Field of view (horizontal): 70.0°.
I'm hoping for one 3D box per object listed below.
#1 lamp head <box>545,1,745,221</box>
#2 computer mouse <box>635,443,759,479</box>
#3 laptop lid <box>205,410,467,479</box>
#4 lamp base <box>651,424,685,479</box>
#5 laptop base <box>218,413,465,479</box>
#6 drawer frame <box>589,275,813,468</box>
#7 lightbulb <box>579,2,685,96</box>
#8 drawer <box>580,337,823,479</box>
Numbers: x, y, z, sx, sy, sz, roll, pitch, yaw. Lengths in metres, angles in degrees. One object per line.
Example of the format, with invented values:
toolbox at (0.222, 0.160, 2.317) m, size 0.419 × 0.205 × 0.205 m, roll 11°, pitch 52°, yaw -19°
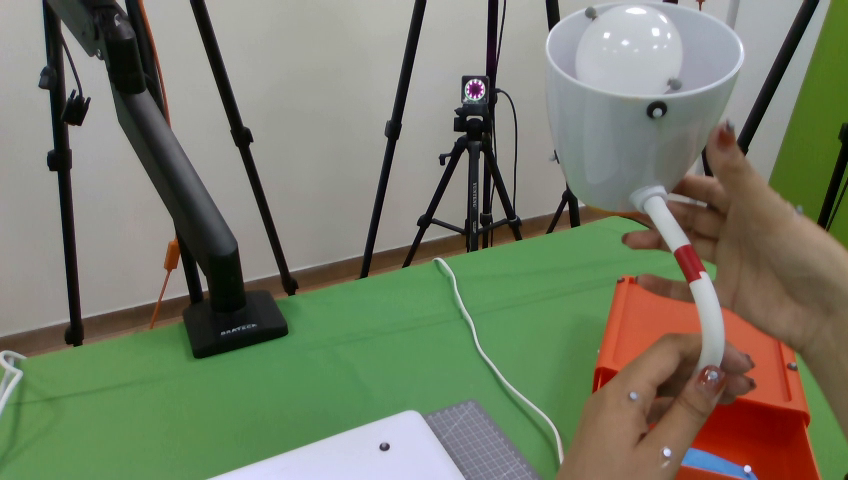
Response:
lamp head at (0.133, -0.072, 0.390) m, size 0.112 × 0.124 × 0.111 m, roll -5°, pitch 41°, yaw 5°
computer mouse at (0.252, 0.223, 0.555) m, size 0.117 × 0.041 × 0.062 m, roll 9°, pitch 27°, yaw 11°
laptop lid at (-0.112, 0.262, 0.482) m, size 0.358 × 0.013 × 0.239 m, roll -12°, pitch 31°, yaw -23°
lamp base at (0.157, 0.226, 0.395) m, size 0.161 × 0.181 × 0.178 m, roll 1°, pitch 24°, yaw -1°
laptop base at (-0.113, 0.272, 0.490) m, size 0.355 × 0.023 × 0.233 m, roll -13°, pitch 32°, yaw -24°
drawer frame at (0.307, 0.136, 0.695) m, size 0.201 × 0.083 × 0.213 m, roll 9°, pitch 27°, yaw 19°
lightbulb at (0.129, -0.095, 0.375) m, size 0.059 × 0.109 × 0.059 m, roll -10°, pitch 54°, yaw 14°
drawer at (0.268, 0.184, 0.602) m, size 0.193 × 0.074 × 0.211 m, roll 8°, pitch 27°, yaw 18°
